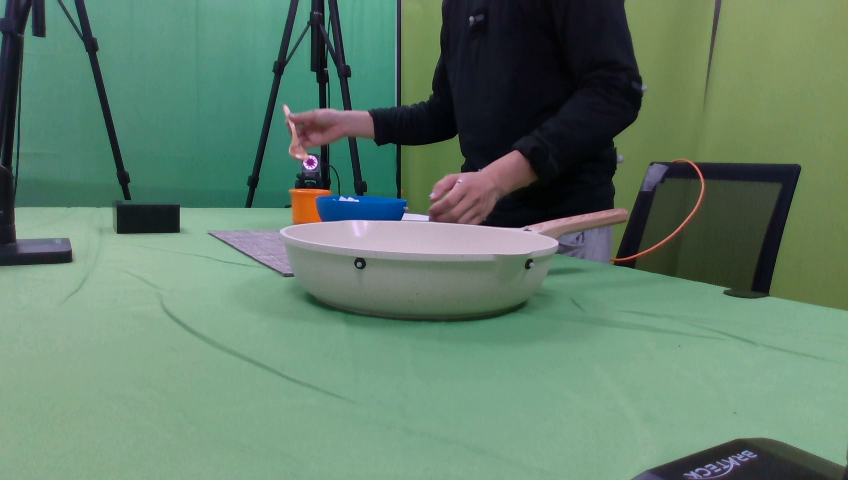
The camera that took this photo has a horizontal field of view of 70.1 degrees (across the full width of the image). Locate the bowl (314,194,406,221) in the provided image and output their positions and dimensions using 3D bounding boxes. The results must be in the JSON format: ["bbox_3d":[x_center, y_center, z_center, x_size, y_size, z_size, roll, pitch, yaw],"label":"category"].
[{"bbox_3d":[-0.105,-0.032,0.991,0.151,0.077,0.151,2,7,0],"label":"bowl"}]

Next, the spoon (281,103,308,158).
[{"bbox_3d":[-0.283,-0.238,1.304,0.042,0.021,0.193,9,45,-34],"label":"spoon"}]

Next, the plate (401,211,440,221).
[{"bbox_3d":[-0.073,-0.035,1.196,0.208,0.039,0.207,4,6,0],"label":"plate"}]

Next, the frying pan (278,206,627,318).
[{"bbox_3d":[0.079,0.002,0.705,0.490,0.102,0.305,-12,15,-33],"label":"frying pan"}]
